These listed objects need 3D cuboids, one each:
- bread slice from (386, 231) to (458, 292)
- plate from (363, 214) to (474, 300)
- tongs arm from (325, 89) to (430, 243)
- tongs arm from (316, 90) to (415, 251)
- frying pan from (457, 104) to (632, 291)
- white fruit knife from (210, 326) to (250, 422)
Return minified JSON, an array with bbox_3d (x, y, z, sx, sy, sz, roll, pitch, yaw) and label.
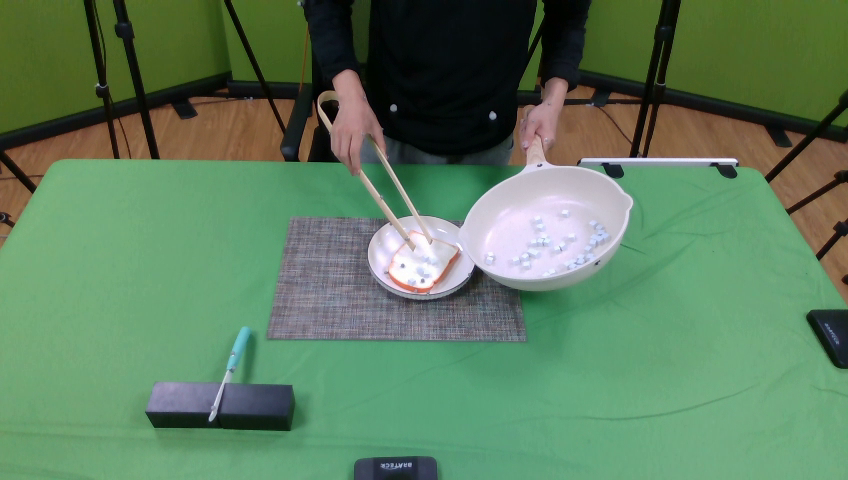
[{"bbox_3d":[-0.007,0.043,1.142,0.107,0.018,0.134,18,46,14],"label":"bread slice"},{"bbox_3d":[-0.010,0.036,1.146,0.208,0.039,0.206,3,46,-2],"label":"plate"},{"bbox_3d":[-0.091,-0.151,1.178,0.028,0.028,0.386,-28,71,-15],"label":"tongs arm"},{"bbox_3d":[-0.112,-0.141,1.170,0.051,0.026,0.383,-31,72,-19],"label":"tongs arm"},{"bbox_3d":[0.218,-0.100,1.145,0.306,0.103,0.485,-10,50,15],"label":"frying pan"},{"bbox_3d":[-0.301,0.201,0.942,0.016,0.027,0.206,0,32,-1],"label":"white fruit knife"}]
